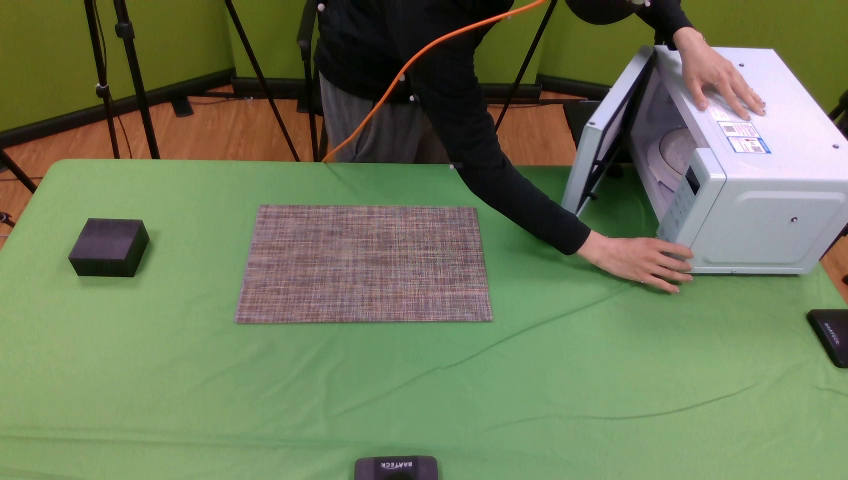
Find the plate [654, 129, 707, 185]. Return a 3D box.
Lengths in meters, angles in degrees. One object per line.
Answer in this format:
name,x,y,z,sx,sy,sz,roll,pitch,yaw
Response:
plate,0.600,-0.165,1.305,0.209,0.038,0.208,0,46,0

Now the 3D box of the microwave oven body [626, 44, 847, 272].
microwave oven body,0.620,-0.172,1.234,0.326,0.261,0.439,0,46,-3

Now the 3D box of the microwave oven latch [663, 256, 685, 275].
microwave oven latch,0.488,0.033,1.164,0.030,0.029,0.079,34,54,27

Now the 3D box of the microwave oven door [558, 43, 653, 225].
microwave oven door,0.383,-0.227,1.262,0.039,0.245,0.355,25,50,18
